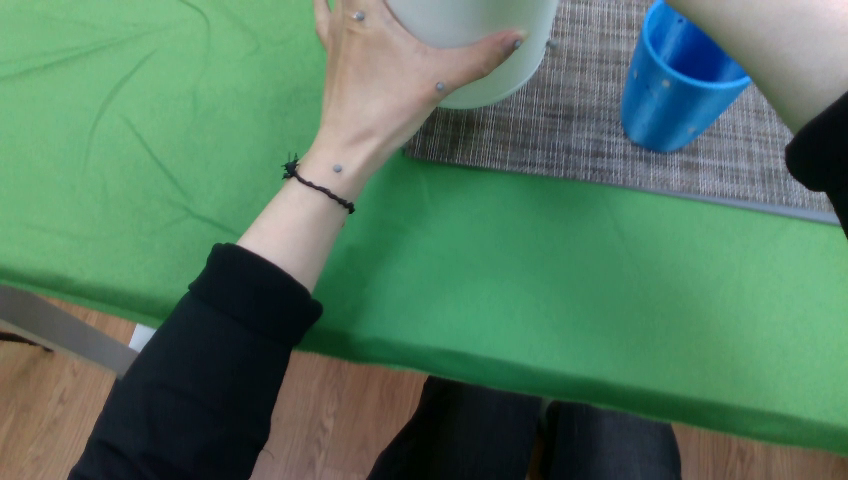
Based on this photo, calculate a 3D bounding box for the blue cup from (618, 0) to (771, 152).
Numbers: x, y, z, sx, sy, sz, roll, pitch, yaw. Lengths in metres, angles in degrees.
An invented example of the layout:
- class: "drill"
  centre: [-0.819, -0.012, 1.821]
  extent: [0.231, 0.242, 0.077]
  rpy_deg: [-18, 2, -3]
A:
- class: "blue cup"
  centre: [0.187, -0.116, 0.446]
  extent: [0.092, 0.101, 0.092]
  rpy_deg: [0, 66, 1]

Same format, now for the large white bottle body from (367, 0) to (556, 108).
- class: "large white bottle body"
  centre: [0.024, -0.184, 0.375]
  extent: [0.130, 0.186, 0.129]
  rpy_deg: [0, 69, 0]
